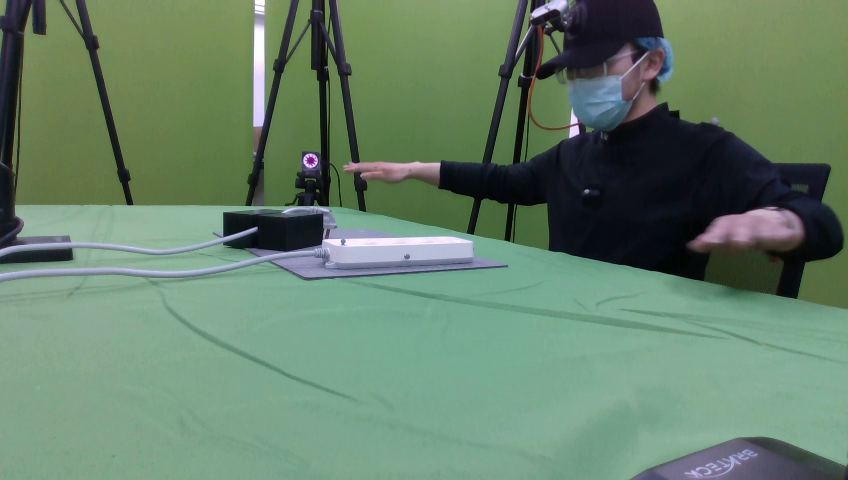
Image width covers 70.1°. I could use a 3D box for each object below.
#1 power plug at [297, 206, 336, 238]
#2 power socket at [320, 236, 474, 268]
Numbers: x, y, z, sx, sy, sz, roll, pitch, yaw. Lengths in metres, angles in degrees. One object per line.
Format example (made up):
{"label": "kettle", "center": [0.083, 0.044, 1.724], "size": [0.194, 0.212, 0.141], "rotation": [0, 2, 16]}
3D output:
{"label": "power plug", "center": [-0.185, -0.031, 1.022], "size": [0.073, 0.052, 0.035], "rotation": [8, 12, -23]}
{"label": "power socket", "center": [-0.033, 0.013, 0.823], "size": [0.228, 0.032, 0.072], "rotation": [-2, 8, -29]}
